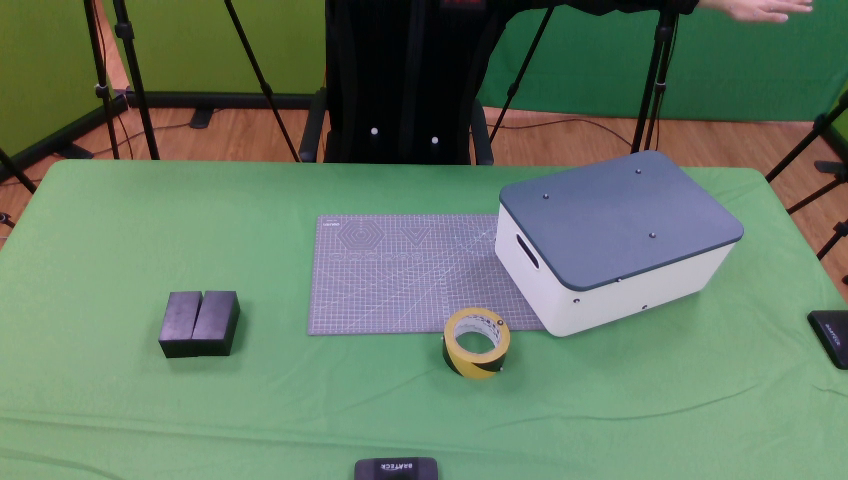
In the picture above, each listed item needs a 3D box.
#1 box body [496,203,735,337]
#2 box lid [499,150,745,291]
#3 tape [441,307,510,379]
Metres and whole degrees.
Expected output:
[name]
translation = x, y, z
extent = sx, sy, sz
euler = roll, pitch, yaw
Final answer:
[box body]
translation = 0.340, 0.003, 1.118
extent = 0.364, 0.161, 0.252
euler = -15, 49, -18
[box lid]
translation = 0.341, -0.049, 1.064
extent = 0.372, 0.015, 0.261
euler = -15, 48, -18
[tape]
translation = 0.087, 0.172, 1.014
extent = 0.117, 0.053, 0.116
euler = 2, 48, -2
